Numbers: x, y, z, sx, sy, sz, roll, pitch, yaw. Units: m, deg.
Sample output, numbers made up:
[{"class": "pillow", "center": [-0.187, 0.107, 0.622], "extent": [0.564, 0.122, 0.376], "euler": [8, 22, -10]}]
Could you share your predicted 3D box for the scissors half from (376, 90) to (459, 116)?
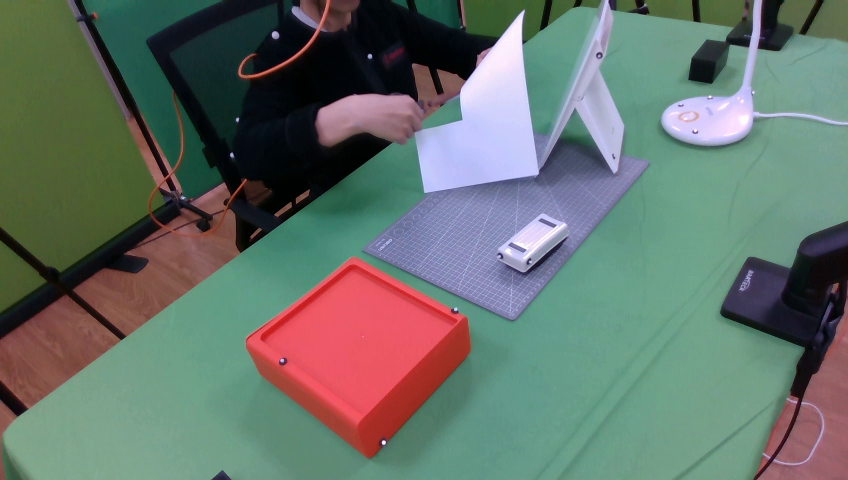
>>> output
[{"class": "scissors half", "center": [-0.008, -0.244, 1.037], "extent": [0.176, 0.040, 0.012], "euler": [-18, 6, -32]}]

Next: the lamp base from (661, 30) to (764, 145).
[{"class": "lamp base", "center": [0.535, -0.287, 1.096], "extent": [0.179, 0.181, 0.159], "euler": [-10, 40, -4]}]

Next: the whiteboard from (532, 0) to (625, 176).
[{"class": "whiteboard", "center": [0.320, -0.259, 1.050], "extent": [0.144, 0.306, 0.217], "euler": [21, 45, 5]}]

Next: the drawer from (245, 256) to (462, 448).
[{"class": "drawer", "center": [-0.089, 0.136, 0.792], "extent": [0.210, 0.073, 0.195], "euler": [26, 51, 34]}]

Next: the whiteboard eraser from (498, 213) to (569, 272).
[{"class": "whiteboard eraser", "center": [0.168, 0.006, 0.923], "extent": [0.113, 0.042, 0.055], "euler": [-36, 48, -28]}]

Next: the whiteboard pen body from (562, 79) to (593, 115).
[{"class": "whiteboard pen body", "center": [0.328, -0.306, 1.278], "extent": [0.017, 0.017, 0.141], "euler": [20, 52, 30]}]

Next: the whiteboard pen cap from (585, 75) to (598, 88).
[{"class": "whiteboard pen cap", "center": [0.362, -0.343, 1.310], "extent": [0.018, 0.018, 0.033], "euler": [19, 54, 29]}]

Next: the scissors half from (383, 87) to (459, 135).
[{"class": "scissors half", "center": [-0.001, -0.226, 1.041], "extent": [0.176, 0.040, 0.012], "euler": [-37, 21, -27]}]

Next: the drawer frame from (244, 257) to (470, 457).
[{"class": "drawer frame", "center": [-0.084, 0.138, 0.788], "extent": [0.212, 0.083, 0.202], "euler": [25, 50, 33]}]
